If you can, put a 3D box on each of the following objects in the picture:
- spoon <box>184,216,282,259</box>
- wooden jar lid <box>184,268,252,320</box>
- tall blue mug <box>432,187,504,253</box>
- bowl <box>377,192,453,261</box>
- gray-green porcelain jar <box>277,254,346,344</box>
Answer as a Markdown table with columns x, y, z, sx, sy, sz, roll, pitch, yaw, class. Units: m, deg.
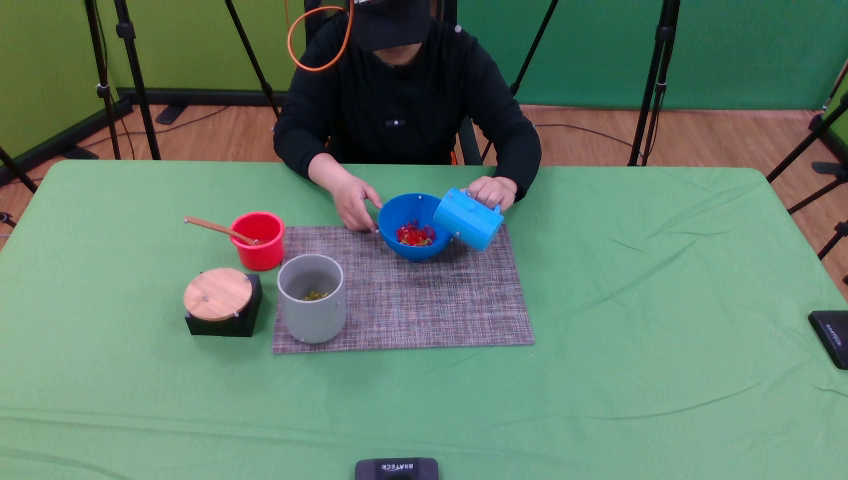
| x | y | z | sx | sy | sz | roll | pitch | yaw | class |
| --- | --- | --- | --- | --- | --- | --- | --- | --- | --- |
| -0.341 | -0.008 | 1.096 | 0.021 | 0.195 | 0.041 | -36 | 47 | 25 | spoon |
| -0.343 | 0.092 | 1.015 | 0.108 | 0.021 | 0.107 | 3 | 46 | -3 | wooden jar lid |
| 0.086 | -0.042 | 1.109 | 0.108 | 0.078 | 0.107 | 32 | 27 | 10 | tall blue mug |
| -0.015 | -0.013 | 1.166 | 0.151 | 0.077 | 0.150 | 2 | 46 | -2 | bowl |
| -0.184 | 0.102 | 1.008 | 0.106 | 0.127 | 0.105 | 2 | 46 | -2 | gray-green porcelain jar |
